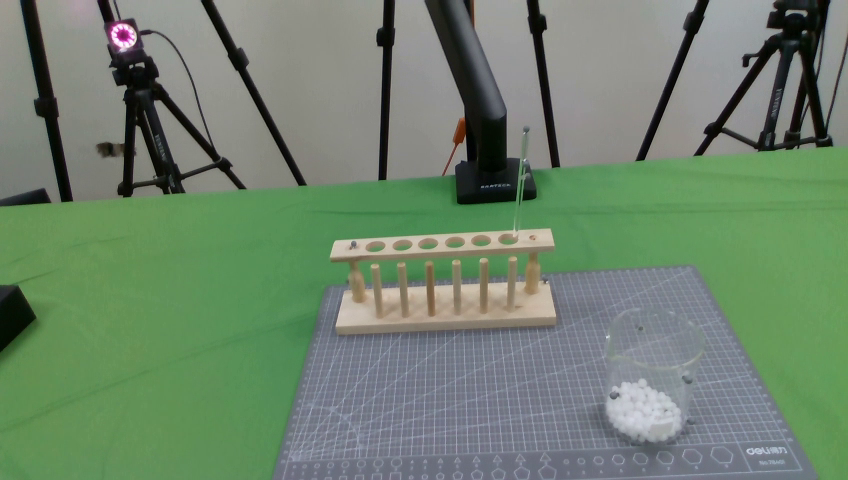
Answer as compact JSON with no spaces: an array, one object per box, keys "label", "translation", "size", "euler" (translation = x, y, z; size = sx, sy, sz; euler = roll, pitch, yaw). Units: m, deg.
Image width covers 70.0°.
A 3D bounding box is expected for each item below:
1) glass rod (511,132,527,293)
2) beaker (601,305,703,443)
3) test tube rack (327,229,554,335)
[{"label":"glass rod","translation":[0.098,-0.021,0.639],"size":[0.008,0.201,0.008],"euler":[-1,34,1]},{"label":"beaker","translation":[0.189,0.118,0.520],"size":[0.084,0.101,0.073],"euler":[-14,34,-11]},{"label":"test tube rack","translation":[0.019,0.046,0.670],"size":[0.242,0.086,0.066],"euler":[-3,33,4]}]
